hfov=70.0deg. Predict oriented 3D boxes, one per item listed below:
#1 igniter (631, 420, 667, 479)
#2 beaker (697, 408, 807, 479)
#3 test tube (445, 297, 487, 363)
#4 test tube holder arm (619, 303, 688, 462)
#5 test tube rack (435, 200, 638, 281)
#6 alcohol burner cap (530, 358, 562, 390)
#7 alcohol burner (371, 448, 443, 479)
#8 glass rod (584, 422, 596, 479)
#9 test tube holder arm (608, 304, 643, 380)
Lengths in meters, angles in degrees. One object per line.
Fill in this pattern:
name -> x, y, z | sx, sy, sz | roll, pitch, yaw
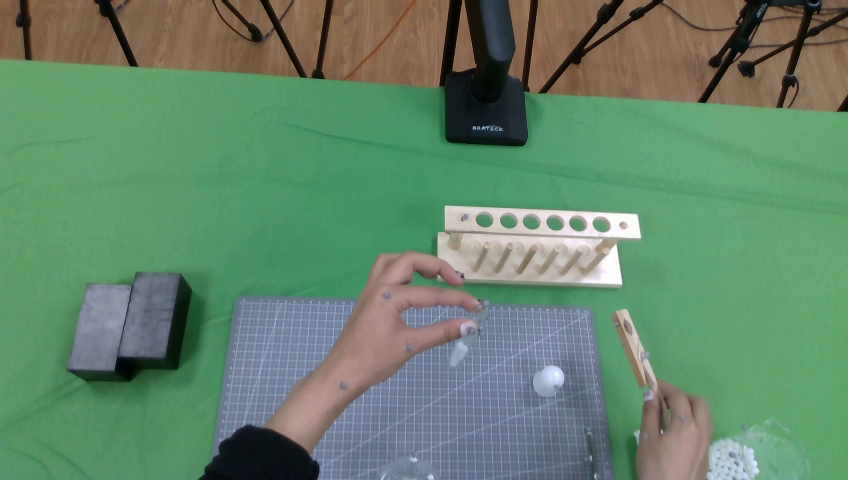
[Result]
igniter -> 0.259, 0.338, 0.659 | 0.057, 0.025, 0.274 | 7, 65, -14
beaker -> 0.360, 0.237, 0.677 | 0.074, 0.101, 0.083 | 15, 64, 1
test tube -> 0.037, 0.089, 0.572 | 0.017, 0.151, 0.017 | 3, 62, -6
test tube holder arm -> 0.248, 0.153, 0.666 | 0.013, 0.015, 0.177 | -13, 66, -13
test tube rack -> 0.139, 0.003, 0.769 | 0.243, 0.086, 0.066 | 2, 65, -5
alcohol burner cap -> 0.148, 0.157, 0.719 | 0.034, 0.048, 0.033 | 3, 65, -6
alcohol burner -> -0.017, 0.250, 0.618 | 0.078, 0.120, 0.077 | 2, 63, -4
glass rod -> 0.193, 0.306, 0.675 | 0.008, 0.008, 0.198 | 1, 65, -6
test tube holder arm -> 0.230, 0.115, 0.682 | 0.010, 0.015, 0.087 | -11, 66, -13
